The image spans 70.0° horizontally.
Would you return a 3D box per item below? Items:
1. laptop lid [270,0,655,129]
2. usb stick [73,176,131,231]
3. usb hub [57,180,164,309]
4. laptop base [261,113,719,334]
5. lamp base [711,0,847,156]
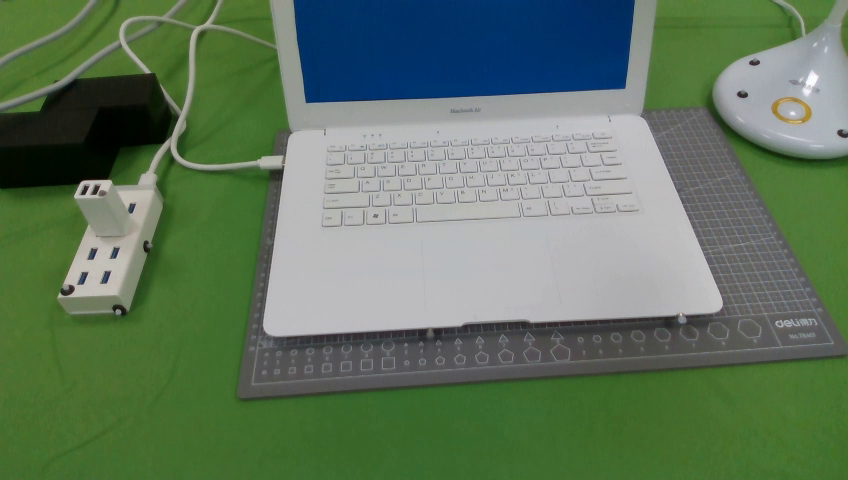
[{"bbox_3d":[0.037,-0.217,0.552,0.357,0.243,0.013,-4,29,-1],"label":"laptop lid"},{"bbox_3d":[-0.259,-0.024,0.494,0.027,0.060,0.021,-4,49,0],"label":"usb stick"},{"bbox_3d":[-0.261,0.001,0.512,0.049,0.025,0.124,-3,49,0],"label":"usb hub"},{"bbox_3d":[0.047,-0.024,0.533,0.354,0.023,0.233,-3,53,-2],"label":"laptop base"},{"bbox_3d":[0.383,-0.201,0.573,0.160,0.182,0.178,21,51,18],"label":"lamp base"}]
